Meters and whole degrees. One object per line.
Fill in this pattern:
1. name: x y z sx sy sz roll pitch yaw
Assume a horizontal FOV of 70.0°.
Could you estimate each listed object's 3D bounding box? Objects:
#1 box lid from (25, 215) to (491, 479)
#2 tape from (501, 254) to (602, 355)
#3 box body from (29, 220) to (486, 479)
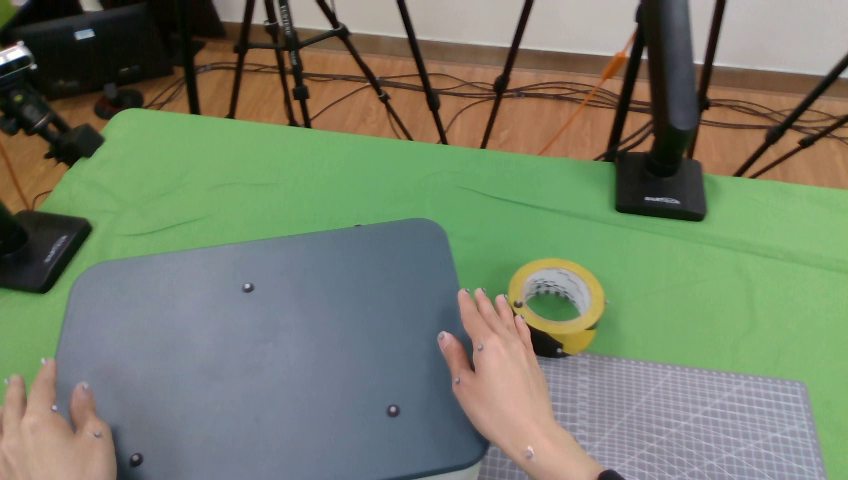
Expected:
1. box lid: -0.141 0.100 0.540 0.372 0.015 0.260 -9 52 -5
2. tape: 0.149 0.075 0.720 0.117 0.053 0.115 0 49 0
3. box body: -0.140 0.147 0.598 0.364 0.162 0.251 -9 51 -5
